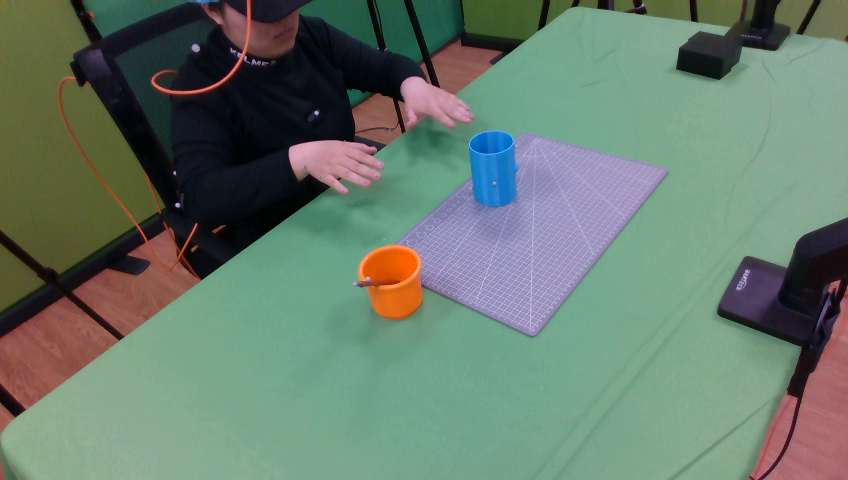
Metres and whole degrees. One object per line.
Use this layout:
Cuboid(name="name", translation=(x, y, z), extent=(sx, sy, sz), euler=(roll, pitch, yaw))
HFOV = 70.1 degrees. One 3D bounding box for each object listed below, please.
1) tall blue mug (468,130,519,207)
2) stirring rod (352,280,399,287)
Cuboid(name="tall blue mug", translation=(0.114, -0.131, 1.045), extent=(0.078, 0.108, 0.106), euler=(-20, 41, -11))
Cuboid(name="stirring rod", translation=(-0.064, 0.059, 0.833), extent=(0.014, 0.006, 0.177), euler=(9, -1, 14))
